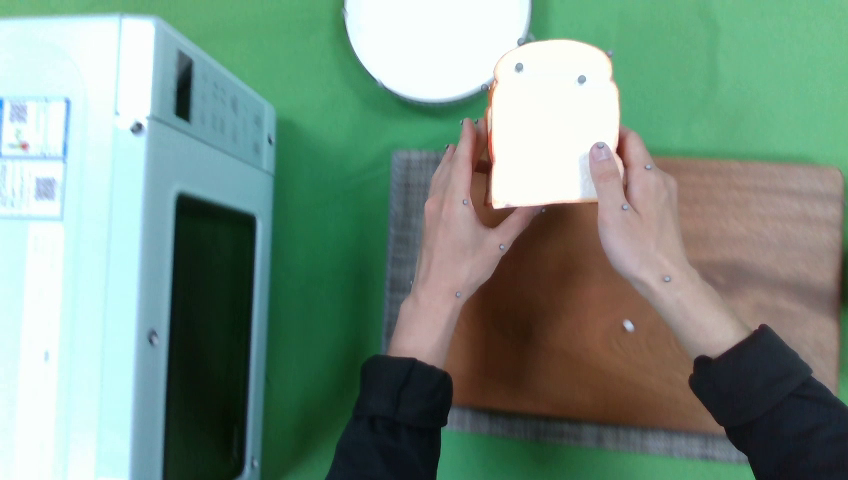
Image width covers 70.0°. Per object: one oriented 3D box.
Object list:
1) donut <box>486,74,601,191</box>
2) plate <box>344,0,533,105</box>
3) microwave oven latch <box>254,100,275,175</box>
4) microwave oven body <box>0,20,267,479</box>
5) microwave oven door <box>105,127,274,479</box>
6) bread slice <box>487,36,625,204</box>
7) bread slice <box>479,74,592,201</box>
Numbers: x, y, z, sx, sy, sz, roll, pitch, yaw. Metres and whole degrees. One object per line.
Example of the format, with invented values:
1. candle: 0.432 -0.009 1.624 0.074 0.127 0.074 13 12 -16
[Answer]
1. donut: 0.102 -0.091 0.520 0.099 0.048 0.099 0 94 4
2. plate: 0.016 -0.249 0.673 0.207 0.039 0.207 0 87 8
3. microwave oven latch: -0.182 -0.114 0.673 0.030 0.029 0.079 2 88 7
4. microwave oven body: -0.348 0.052 0.588 0.325 0.261 0.441 1 87 7
5. microwave oven door: -0.206 0.098 0.562 0.039 0.244 0.355 1 87 8
6. bread slice: 0.100 -0.096 0.490 0.107 0.018 0.134 -6 88 5
7. bread slice: 0.100 -0.101 0.549 0.105 0.019 0.131 -3 93 2
